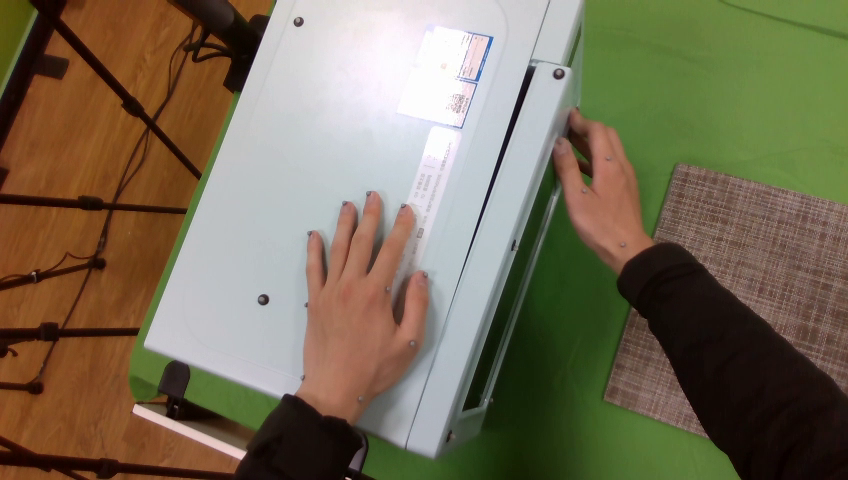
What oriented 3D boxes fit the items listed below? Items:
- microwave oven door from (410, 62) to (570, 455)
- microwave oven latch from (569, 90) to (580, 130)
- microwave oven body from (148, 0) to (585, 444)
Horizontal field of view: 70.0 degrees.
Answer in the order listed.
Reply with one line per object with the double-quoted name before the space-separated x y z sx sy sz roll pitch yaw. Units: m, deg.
"microwave oven door" 0.080 0.032 0.625 0.039 0.245 0.355 17 83 17
"microwave oven latch" 0.171 -0.153 0.750 0.030 0.030 0.079 17 83 16
"microwave oven body" -0.044 -0.047 0.676 0.324 0.262 0.440 16 83 15
